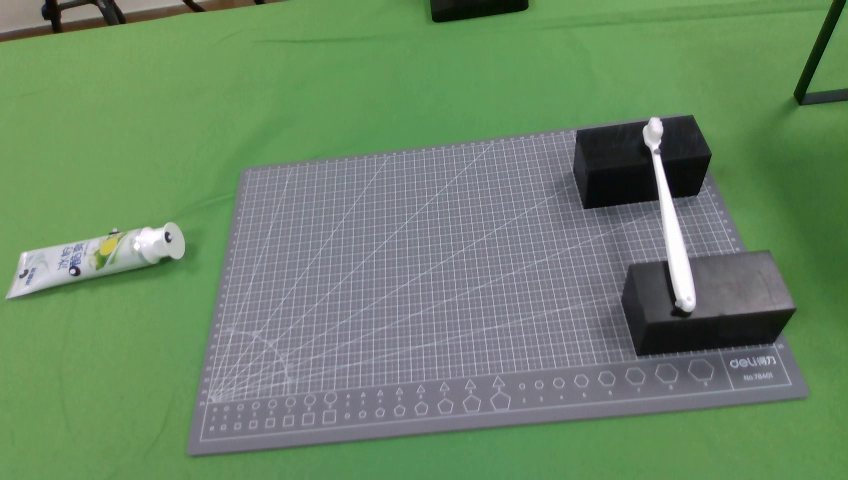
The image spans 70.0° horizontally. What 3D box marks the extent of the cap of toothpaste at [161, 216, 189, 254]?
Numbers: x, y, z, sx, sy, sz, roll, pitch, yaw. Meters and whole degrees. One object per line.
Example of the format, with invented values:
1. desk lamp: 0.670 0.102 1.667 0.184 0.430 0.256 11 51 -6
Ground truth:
1. cap of toothpaste: -0.231 -0.004 0.560 0.011 0.038 0.037 -12 52 5

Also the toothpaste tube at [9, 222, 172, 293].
1. toothpaste tube: -0.308 0.010 0.569 0.165 0.035 0.054 -12 49 5

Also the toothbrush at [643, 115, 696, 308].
1. toothbrush: 0.187 -0.029 0.461 0.014 0.017 0.180 8 55 -4
